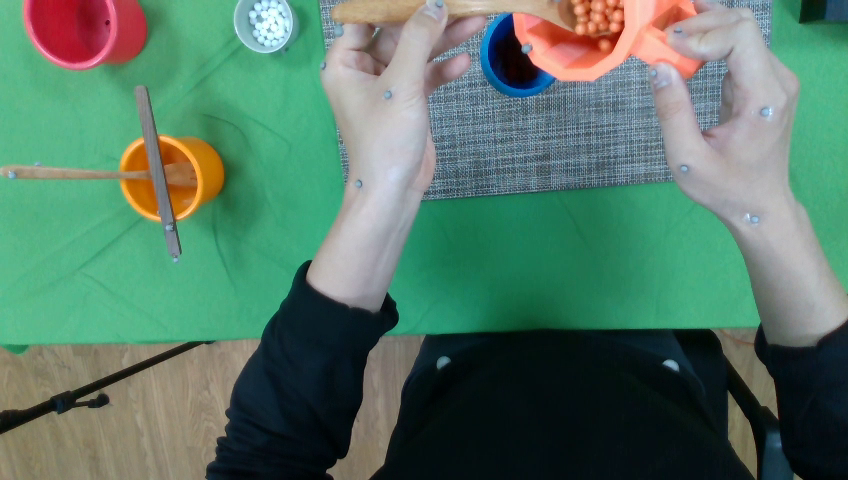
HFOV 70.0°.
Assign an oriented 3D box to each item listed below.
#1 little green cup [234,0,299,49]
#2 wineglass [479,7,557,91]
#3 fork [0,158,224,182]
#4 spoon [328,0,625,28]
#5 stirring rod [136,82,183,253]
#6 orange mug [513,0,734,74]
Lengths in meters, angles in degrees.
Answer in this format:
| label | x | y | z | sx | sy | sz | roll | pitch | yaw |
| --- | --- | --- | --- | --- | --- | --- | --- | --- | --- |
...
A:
| label | x | y | z | sx | sy | sz | roll | pitch | yaw |
| --- | --- | --- | --- | --- | --- | --- | --- | --- | --- |
| little green cup | -0.161 | -0.229 | 0.627 | 0.061 | 0.038 | 0.062 | 2 | 106 | 6 |
| wineglass | 0.086 | -0.171 | 0.546 | 0.073 | 0.171 | 0.074 | 1 | 105 | 6 |
| fork | -0.314 | -0.073 | 0.629 | 0.208 | 0.018 | 0.028 | -4 | 117 | -38 |
| spoon | 0.039 | -0.147 | 0.369 | 0.194 | 0.021 | 0.042 | -8 | 119 | -13 |
| stirring rod | -0.271 | -0.072 | 0.623 | 0.014 | 0.006 | 0.177 | -4 | 104 | 8 |
| orange mug | 0.131 | -0.155 | 0.391 | 0.125 | 0.101 | 0.084 | 41 | 142 | 19 |
